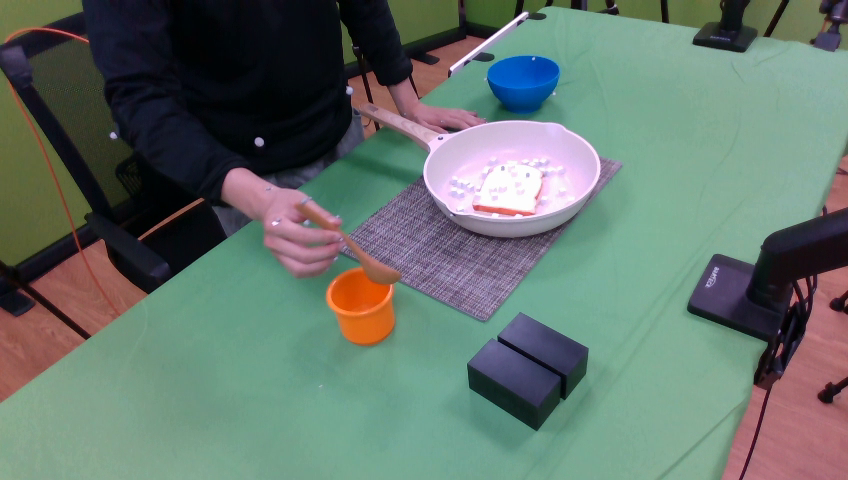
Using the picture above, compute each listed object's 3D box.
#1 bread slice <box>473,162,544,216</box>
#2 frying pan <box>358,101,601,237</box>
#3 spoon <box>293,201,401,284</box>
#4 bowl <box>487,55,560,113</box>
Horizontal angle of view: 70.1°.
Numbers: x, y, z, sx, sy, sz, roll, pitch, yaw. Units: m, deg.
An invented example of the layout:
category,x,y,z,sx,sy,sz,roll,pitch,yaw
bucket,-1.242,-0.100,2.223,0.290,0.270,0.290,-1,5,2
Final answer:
category,x,y,z,sx,sy,sz,roll,pitch,yaw
bread slice,0.150,-0.089,1.041,0.106,0.018,0.134,7,44,16
frying pan,0.067,-0.153,1.067,0.484,0.103,0.308,32,52,26
spoon,-0.089,0.007,0.714,0.041,0.195,0.021,-19,48,26
bowl,0.208,-0.319,1.266,0.151,0.077,0.150,-4,41,4
